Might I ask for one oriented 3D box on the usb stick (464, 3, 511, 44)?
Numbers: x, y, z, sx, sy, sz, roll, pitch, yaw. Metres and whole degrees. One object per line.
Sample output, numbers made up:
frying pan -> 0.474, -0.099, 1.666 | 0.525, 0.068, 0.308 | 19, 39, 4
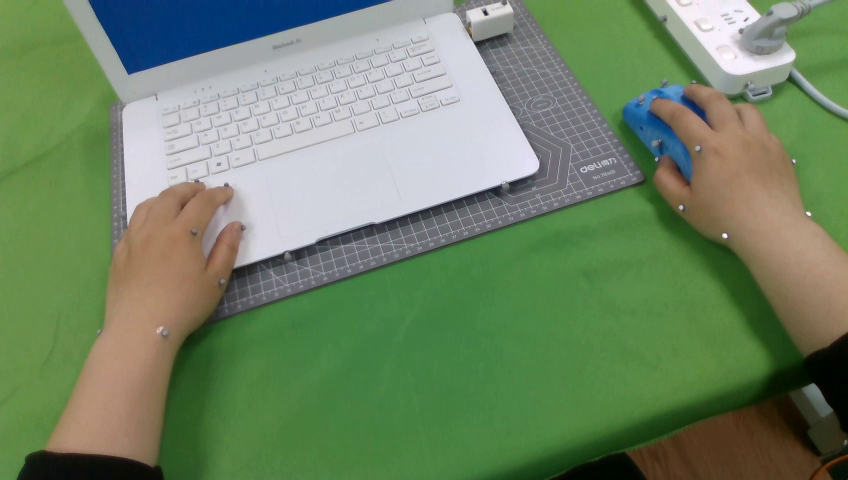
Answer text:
usb stick -> 0.058, -0.218, 0.616 | 0.059, 0.027, 0.021 | -19, 56, -1

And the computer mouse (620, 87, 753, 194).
computer mouse -> 0.221, -0.092, 0.515 | 0.063, 0.041, 0.116 | -21, 51, -5

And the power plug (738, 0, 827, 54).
power plug -> 0.320, -0.183, 0.541 | 0.072, 0.053, 0.035 | -6, 58, 3

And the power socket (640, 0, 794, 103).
power socket -> 0.275, -0.223, 0.599 | 0.072, 0.033, 0.224 | -15, 56, -3

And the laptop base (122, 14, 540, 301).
laptop base -> -0.099, -0.091, 0.565 | 0.354, 0.023, 0.233 | -18, 59, -5

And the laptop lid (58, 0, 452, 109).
laptop lid -> -0.156, -0.266, 0.550 | 0.357, 0.244, 0.013 | -19, 43, -4
